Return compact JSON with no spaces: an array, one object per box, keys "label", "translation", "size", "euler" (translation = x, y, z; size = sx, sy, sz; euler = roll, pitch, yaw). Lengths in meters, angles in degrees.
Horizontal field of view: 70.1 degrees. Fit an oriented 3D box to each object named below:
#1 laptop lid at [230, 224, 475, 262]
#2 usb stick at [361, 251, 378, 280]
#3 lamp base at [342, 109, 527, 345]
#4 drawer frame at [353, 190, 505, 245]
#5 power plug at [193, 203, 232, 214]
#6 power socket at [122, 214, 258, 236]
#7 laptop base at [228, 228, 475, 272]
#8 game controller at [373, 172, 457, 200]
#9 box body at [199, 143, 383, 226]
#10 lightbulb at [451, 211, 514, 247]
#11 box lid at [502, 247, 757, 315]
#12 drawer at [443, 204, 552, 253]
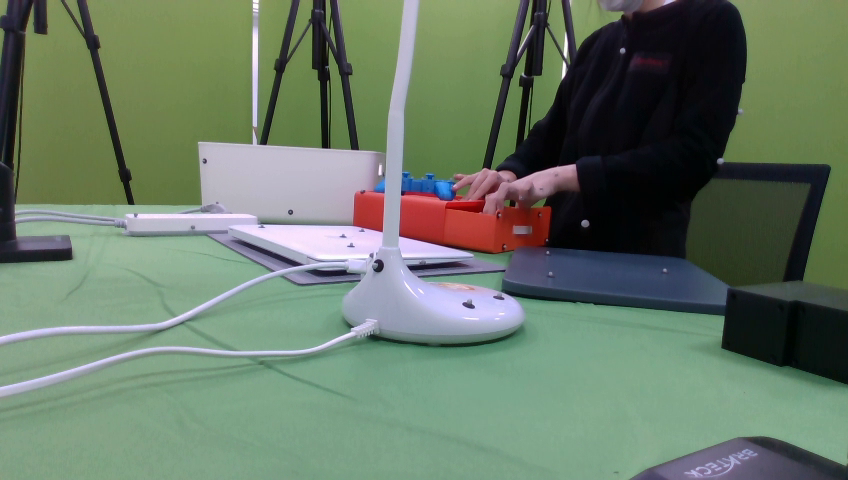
[{"label":"laptop lid","translation":[-0.119,0.000,0.889],"size":[0.243,0.013,0.355],"euler":[1,7,-33]},{"label":"usb stick","translation":[-0.051,0.033,0.656],"size":[0.027,0.021,0.059],"euler":[4,-27,-21]},{"label":"lamp base","translation":[0.006,-0.015,0.505],"size":[0.160,0.180,0.180],"euler":[6,11,29]},{"label":"drawer frame","translation":[0.011,-0.048,1.143],"size":[0.212,0.082,0.203],"euler":[9,10,35]},{"label":"power plug","translation":[-0.393,-0.042,1.139],"size":[0.072,0.052,0.035],"euler":[-14,2,31]},{"label":"power socket","translation":[-0.398,-0.028,1.049],"size":[0.228,0.032,0.072],"euler":[-3,8,-34]},{"label":"laptop base","translation":[-0.122,0.011,0.889],"size":[0.237,0.023,0.352],"euler":[2,6,-35]},{"label":"game controller","translation":[-0.011,-0.101,1.150],"size":[0.155,0.051,0.097],"euler":[6,4,12]},{"label":"box body","translation":[-0.276,-0.124,1.334],"size":[0.364,0.160,0.254],"euler":[3,7,1]},{"label":"lightbulb","translation":[0.098,-0.014,1.016],"size":[0.107,0.059,0.059],"euler":[-11,4,14]},{"label":"box lid","translation":[0.244,0.044,0.793],"size":[0.263,0.015,0.372],"euler":[4,7,10]},{"label":"drawer","translation":[0.092,-0.032,1.084],"size":[0.210,0.073,0.195],"euler":[9,10,37]}]
